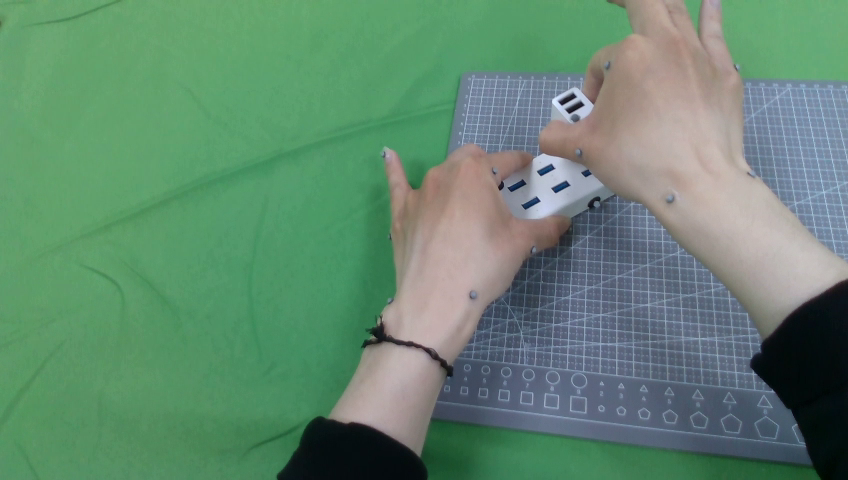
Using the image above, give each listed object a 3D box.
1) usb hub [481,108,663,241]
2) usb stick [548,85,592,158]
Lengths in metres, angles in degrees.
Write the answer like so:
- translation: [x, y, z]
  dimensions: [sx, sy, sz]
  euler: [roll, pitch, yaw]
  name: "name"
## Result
- translation: [0.107, -0.049, 0.439]
  dimensions: [0.125, 0.025, 0.049]
  euler: [-28, 53, -9]
  name: "usb hub"
- translation: [0.102, -0.077, 0.423]
  dimensions: [0.021, 0.060, 0.027]
  euler: [-32, 59, -4]
  name: "usb stick"
